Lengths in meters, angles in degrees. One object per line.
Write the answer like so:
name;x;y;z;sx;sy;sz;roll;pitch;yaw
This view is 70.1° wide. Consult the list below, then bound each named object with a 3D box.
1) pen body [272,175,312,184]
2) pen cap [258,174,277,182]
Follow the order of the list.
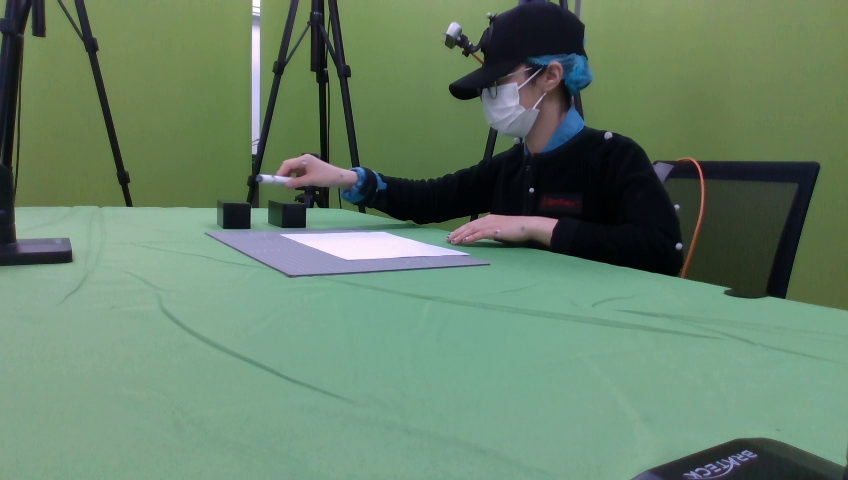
pen body;-0.272;-0.120;1.209;0.017;0.017;0.145;6;6;26
pen cap;-0.300;-0.119;1.154;0.017;0.017;0.038;6;5;25
